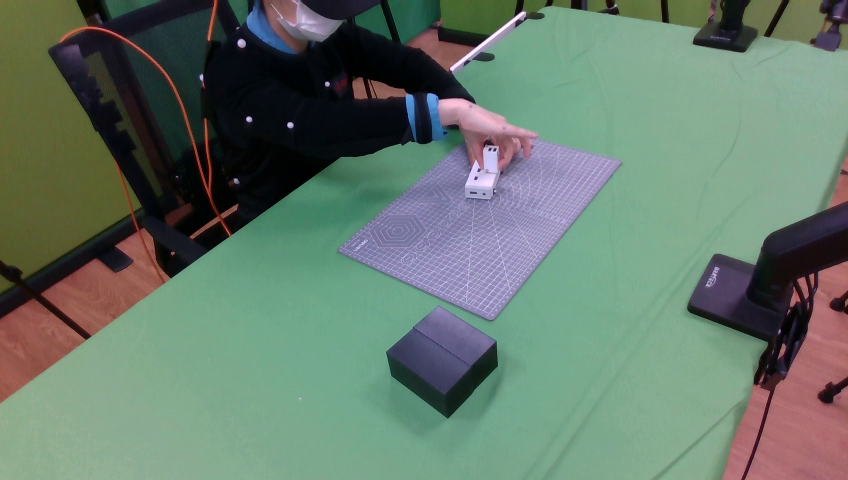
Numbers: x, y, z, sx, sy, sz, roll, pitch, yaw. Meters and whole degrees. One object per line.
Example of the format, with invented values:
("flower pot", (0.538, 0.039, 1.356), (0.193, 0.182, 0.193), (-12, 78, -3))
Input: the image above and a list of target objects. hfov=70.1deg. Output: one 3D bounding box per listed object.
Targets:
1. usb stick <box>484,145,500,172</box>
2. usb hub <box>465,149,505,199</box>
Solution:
("usb stick", (0.119, -0.137, 1.056), (0.027, 0.059, 0.021), (7, 47, 13))
("usb hub", (0.111, -0.120, 1.085), (0.049, 0.025, 0.125), (7, 42, 16))
